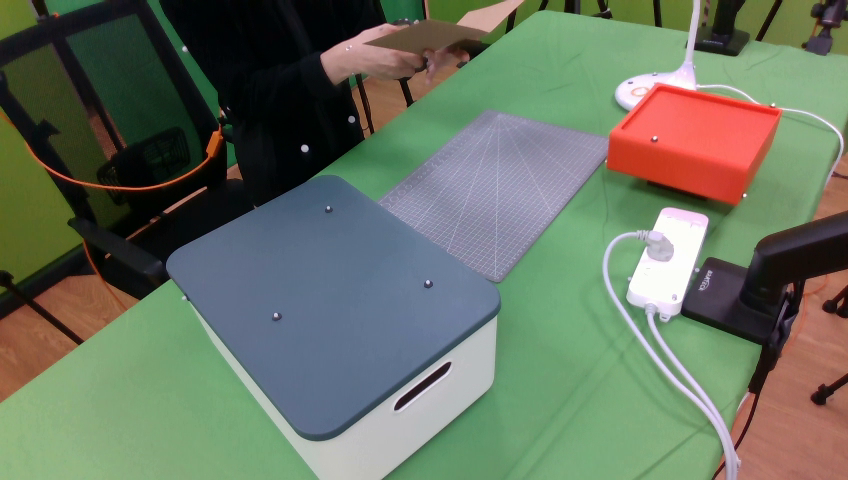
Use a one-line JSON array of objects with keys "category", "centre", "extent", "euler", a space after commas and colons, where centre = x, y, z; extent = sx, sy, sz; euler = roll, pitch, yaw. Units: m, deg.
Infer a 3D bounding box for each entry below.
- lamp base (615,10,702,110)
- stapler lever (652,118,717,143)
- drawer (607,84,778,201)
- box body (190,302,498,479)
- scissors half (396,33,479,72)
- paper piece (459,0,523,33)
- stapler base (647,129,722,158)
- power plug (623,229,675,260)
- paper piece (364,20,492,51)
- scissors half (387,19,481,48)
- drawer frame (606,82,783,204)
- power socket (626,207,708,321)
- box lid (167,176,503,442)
[{"category": "lamp base", "centre": [0.484, -0.364, 1.211], "extent": [0.180, 0.181, 0.159], "euler": [-15, 41, -14]}, {"category": "stapler lever", "centre": [0.436, -0.192, 1.014], "extent": [0.118, 0.040, 0.026], "euler": [-16, 25, -16]}, {"category": "drawer", "centre": [0.438, -0.167, 0.995], "extent": [0.210, 0.073, 0.195], "euler": [23, 48, 30]}, {"category": "box body", "centre": [-0.110, 0.103, 0.761], "extent": [0.255, 0.161, 0.361], "euler": [-33, 46, -27]}, {"category": "scissors half", "centre": [0.020, -0.300, 0.957], "extent": [0.174, 0.040, 0.013], "euler": [-6, 31, 46]}, {"category": "paper piece", "centre": [0.086, -0.347, 0.965], "extent": [0.137, 0.009, 0.136], "euler": [0, 37, 47]}, {"category": "stapler base", "centre": [0.439, -0.167, 1.023], "extent": [0.131, 0.024, 0.041], "euler": [-16, 25, -15]}, {"category": "power plug", "centre": [0.327, 0.007, 0.878], "extent": [0.072, 0.053, 0.035], "euler": [25, 51, 33]}, {"category": "paper piece", "centre": [0.005, -0.297, 0.881], "extent": [0.136, 0.004, 0.134], "euler": [-12, 7, -42]}, {"category": "scissors half", "centre": [0.013, -0.318, 0.945], "extent": [0.174, 0.040, 0.013], "euler": [20, 51, 28]}, {"category": "drawer frame", "centre": [0.441, -0.167, 0.995], "extent": [0.212, 0.083, 0.202], "euler": [23, 48, 30]}, {"category": "power socket", "centre": [0.360, 0.026, 0.886], "extent": [0.072, 0.033, 0.227], "euler": [16, 46, 26]}, {"category": "box lid", "centre": [-0.119, 0.047, 0.714], "extent": [0.264, 0.015, 0.368], "euler": [-32, 47, -27]}]
